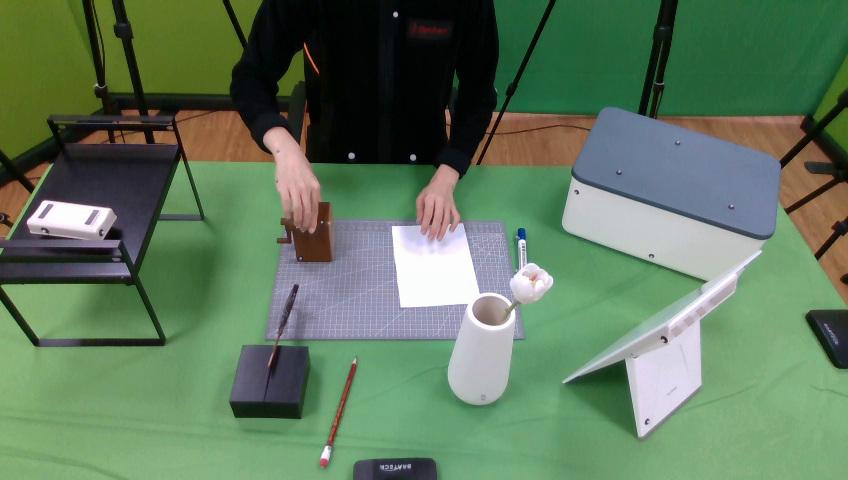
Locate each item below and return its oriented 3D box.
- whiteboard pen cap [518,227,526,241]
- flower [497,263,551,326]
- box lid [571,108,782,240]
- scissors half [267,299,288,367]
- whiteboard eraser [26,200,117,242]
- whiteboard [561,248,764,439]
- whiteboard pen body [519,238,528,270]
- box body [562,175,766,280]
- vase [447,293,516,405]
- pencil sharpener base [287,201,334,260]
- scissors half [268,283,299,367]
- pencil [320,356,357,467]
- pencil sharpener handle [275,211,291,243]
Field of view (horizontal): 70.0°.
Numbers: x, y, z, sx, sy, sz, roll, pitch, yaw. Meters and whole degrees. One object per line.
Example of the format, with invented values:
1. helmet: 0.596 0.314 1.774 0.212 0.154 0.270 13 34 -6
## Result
1. whiteboard pen cap: 0.197 -0.009 1.220 0.018 0.018 0.033 5 51 1
2. flower: 0.103 0.121 0.852 0.044 0.363 0.038 -2 64 -9
3. box lid: 0.491 -0.139 1.168 0.370 0.015 0.262 21 49 15
4. scissors half: -0.239 0.150 0.997 0.013 0.040 0.174 24 24 -13
5. whiteboard eraser: -0.532 -0.026 0.919 0.113 0.042 0.055 7 45 3
6. whiteboard: 0.386 0.176 0.905 0.217 0.306 0.143 -26 72 -27
7. whiteboard pen body: 0.193 0.035 1.181 0.017 0.017 0.140 6 48 1
8. box body: 0.486 -0.088 1.222 0.363 0.161 0.253 20 48 15
9. vase: 0.091 0.169 0.921 0.098 0.201 0.097 3 47 -3
10. pencil sharpener base: -0.211 -0.016 1.133 0.077 0.107 0.061 -1 47 -4
11. scissors half: -0.230 0.135 0.986 0.013 0.040 0.174 19 43 -11
12. pencil: -0.130 0.261 0.946 0.012 0.012 0.193 10 45 5
13. pencil sharpener handle: -0.262 -0.022 1.118 0.031 0.068 0.036 -1 38 -4
